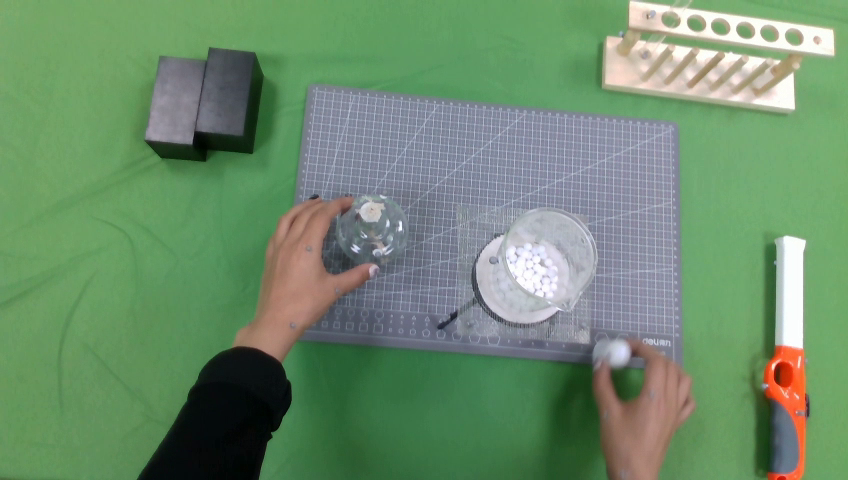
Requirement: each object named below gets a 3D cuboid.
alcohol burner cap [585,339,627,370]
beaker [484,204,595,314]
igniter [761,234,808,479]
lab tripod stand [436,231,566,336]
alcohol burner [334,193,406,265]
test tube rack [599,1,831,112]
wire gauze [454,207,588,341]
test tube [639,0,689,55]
[{"bbox_3d":[0.197,0.122,0.647,0.034,0.048,0.033,3,76,-12],"label":"alcohol burner cap"},{"bbox_3d":[0.092,0.024,0.505,0.074,0.100,0.083,-17,78,-7],"label":"beaker"},{"bbox_3d":[0.407,0.128,0.683,0.057,0.025,0.275,12,77,-12],"label":"igniter"},{"bbox_3d":[0.081,0.047,0.616,0.148,0.132,0.147,1,76,-3],"label":"lab tripod stand"},{"bbox_3d":[-0.056,-0.017,0.629,0.078,0.119,0.077,1,75,-4],"label":"alcohol burner"},{"bbox_3d":[0.343,-0.216,0.725,0.242,0.085,0.066,6,76,-3],"label":"test tube rack"},{"bbox_3d":[0.088,0.029,0.554,0.125,0.011,0.121,3,75,-1],"label":"wire gauze"},{"bbox_3d":[0.277,-0.255,0.678,0.017,0.151,0.017,2,73,-5],"label":"test tube"}]
